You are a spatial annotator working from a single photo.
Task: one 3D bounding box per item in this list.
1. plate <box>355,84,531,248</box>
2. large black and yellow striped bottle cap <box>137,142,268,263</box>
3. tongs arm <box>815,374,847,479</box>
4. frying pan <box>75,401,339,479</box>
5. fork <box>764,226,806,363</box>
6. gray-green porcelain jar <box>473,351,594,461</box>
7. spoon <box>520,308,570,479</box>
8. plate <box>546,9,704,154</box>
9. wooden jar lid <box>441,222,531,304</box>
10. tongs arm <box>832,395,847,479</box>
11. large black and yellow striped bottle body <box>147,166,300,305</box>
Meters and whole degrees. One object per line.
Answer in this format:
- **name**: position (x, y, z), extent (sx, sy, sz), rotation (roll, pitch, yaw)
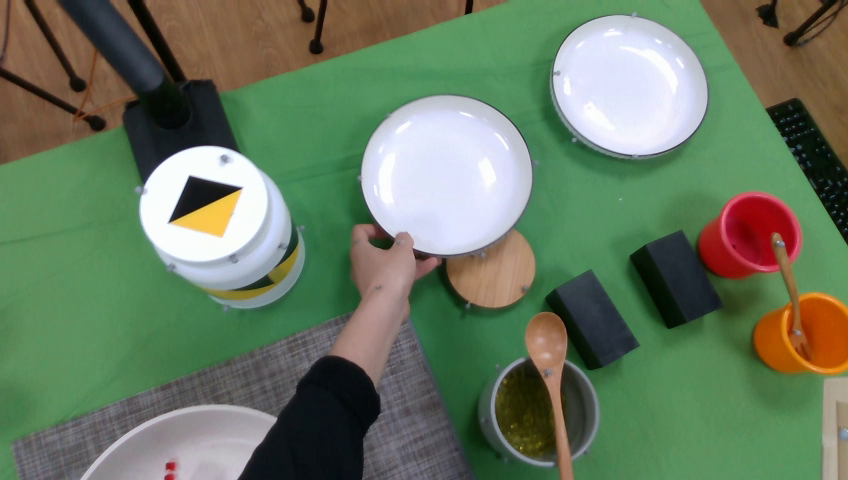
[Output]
- **plate**: position (0.023, -0.087, 0.733), extent (0.207, 0.039, 0.206), rotation (0, 74, 1)
- **large black and yellow striped bottle cap**: position (-0.204, -0.036, 0.561), extent (0.115, 0.019, 0.114), rotation (1, 76, -3)
- **tongs arm**: position (0.309, 0.280, 0.452), extent (0.027, 0.028, 0.389), rotation (-6, 102, 12)
- **frying pan**: position (-0.245, 0.400, 0.560), extent (0.306, 0.103, 0.485), rotation (19, 66, 3)
- **fork**: position (0.401, 0.064, 0.674), extent (0.028, 0.018, 0.209), rotation (-33, 123, -4)
- **gray-green porcelain jar**: position (0.108, 0.175, 0.637), extent (0.106, 0.127, 0.105), rotation (1, 73, -3)
- **spoon**: position (0.120, 0.161, 0.569), extent (0.042, 0.022, 0.193), rotation (-4, 78, -11)
- **plate**: position (0.261, -0.206, 0.799), extent (0.209, 0.038, 0.208), rotation (1, 74, -3)
- **wooden jar lid**: position (0.075, 0.026, 0.733), extent (0.108, 0.021, 0.108), rotation (1, 76, -3)
- **tongs arm**: position (0.303, 0.285, 0.431), extent (0.026, 0.051, 0.385), rotation (-5, 98, 15)
- **large black and yellow striped bottle body**: position (-0.209, -0.010, 0.641), extent (0.131, 0.185, 0.130), rotation (1, 73, -3)
